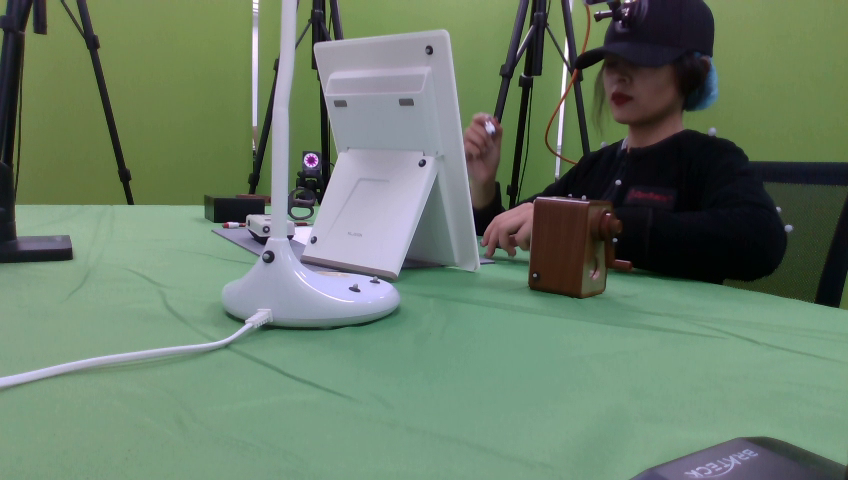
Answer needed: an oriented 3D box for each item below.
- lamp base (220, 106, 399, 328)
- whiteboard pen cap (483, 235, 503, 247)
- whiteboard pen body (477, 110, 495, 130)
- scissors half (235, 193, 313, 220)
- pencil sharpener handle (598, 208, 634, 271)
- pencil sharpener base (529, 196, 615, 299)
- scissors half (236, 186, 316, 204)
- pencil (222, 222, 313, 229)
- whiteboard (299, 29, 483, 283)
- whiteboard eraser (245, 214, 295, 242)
[{"bbox_3d":[-0.101,-0.023,0.531,0.160,0.180,0.179,4,10,10],"label":"lamp base"},{"bbox_3d":[0.106,0.001,0.930,0.018,0.018,0.033,-2,5,-27],"label":"whiteboard pen cap"},{"bbox_3d":[0.112,-0.213,1.084,0.017,0.017,0.140,2,22,-5],"label":"whiteboard pen body"},{"bbox_3d":[-0.325,-0.077,1.319,0.176,0.040,0.012,17,6,-31],"label":"scissors half"},{"bbox_3d":[0.208,0.000,0.645,0.030,0.068,0.036,10,23,42],"label":"pencil sharpener handle"},{"bbox_3d":[0.167,0.007,0.678,0.076,0.107,0.062,10,10,42],"label":"pencil sharpener base"},{"bbox_3d":[-0.320,-0.097,1.316,0.176,0.040,0.013,-3,11,-29],"label":"scissors half"},{"bbox_3d":[-0.302,-0.030,1.189,0.195,0.012,0.012,-2,9,-42],"label":"pencil"},{"bbox_3d":[-0.074,-0.082,0.742,0.216,0.305,0.144,9,29,37],"label":"whiteboard"},{"bbox_3d":[-0.247,-0.018,0.965,0.056,0.042,0.112,0,8,-28],"label":"whiteboard eraser"}]
